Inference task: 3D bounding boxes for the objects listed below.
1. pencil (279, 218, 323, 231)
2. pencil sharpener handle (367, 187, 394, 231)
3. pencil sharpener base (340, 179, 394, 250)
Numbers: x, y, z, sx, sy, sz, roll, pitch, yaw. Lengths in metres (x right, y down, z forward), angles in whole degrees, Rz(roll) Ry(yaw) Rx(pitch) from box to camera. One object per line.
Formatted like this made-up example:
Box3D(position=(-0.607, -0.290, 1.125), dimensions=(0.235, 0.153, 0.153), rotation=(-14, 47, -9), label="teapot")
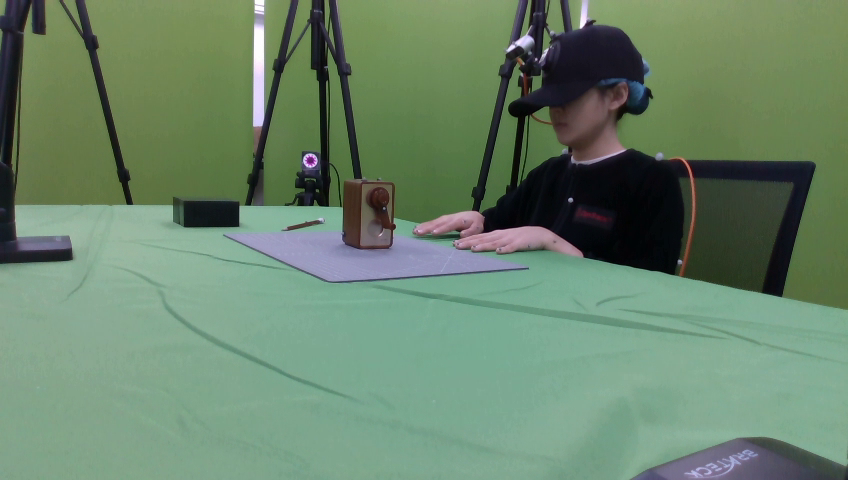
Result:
Box3D(position=(-0.246, -0.031, 1.222), dimensions=(0.012, 0.012, 0.194), rotation=(5, 9, 14), label="pencil")
Box3D(position=(-0.061, -0.046, 0.916), dimensions=(0.036, 0.068, 0.030), rotation=(-19, 17, -26), label="pencil sharpener handle")
Box3D(position=(-0.091, -0.041, 0.959), dimensions=(0.061, 0.107, 0.076), rotation=(-1, 9, -30), label="pencil sharpener base")
